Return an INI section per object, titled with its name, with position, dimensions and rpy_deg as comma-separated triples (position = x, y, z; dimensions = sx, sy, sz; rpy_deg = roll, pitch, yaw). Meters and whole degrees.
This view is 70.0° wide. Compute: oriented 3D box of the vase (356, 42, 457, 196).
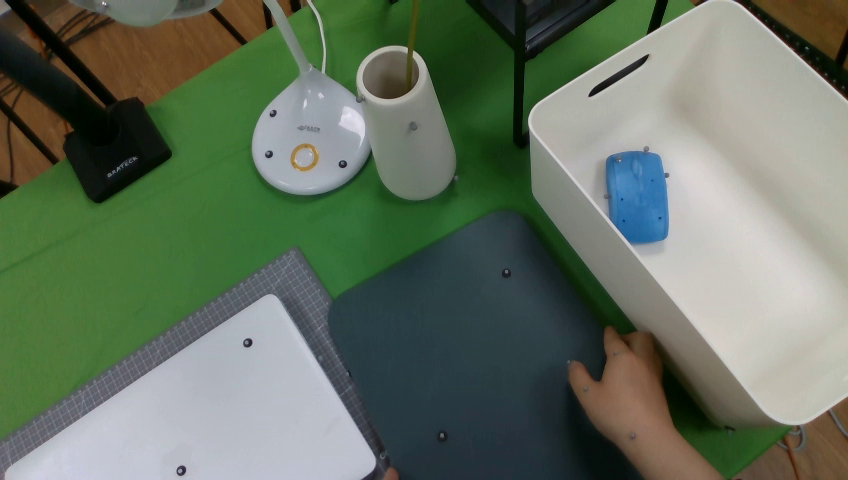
[vase]
position = -0.020, -0.127, 0.671
dimensions = 0.098, 0.201, 0.097
rpy_deg = -3, 68, 8

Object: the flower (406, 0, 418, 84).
[flower]
position = -0.014, -0.168, 0.598
dimensions = 0.038, 0.364, 0.043
rpy_deg = -20, 58, -19

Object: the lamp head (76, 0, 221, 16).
[lamp head]
position = -0.198, -0.231, 0.421
dimensions = 0.112, 0.112, 0.122
rpy_deg = -6, 86, 5

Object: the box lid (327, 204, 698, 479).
[box lid]
position = 0.075, 0.151, 0.642
dimensions = 0.263, 0.015, 0.368
rpy_deg = -29, 66, -4

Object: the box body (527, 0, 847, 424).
[box body]
position = 0.301, -0.027, 0.612
dimensions = 0.254, 0.161, 0.361
rpy_deg = -32, 69, -5

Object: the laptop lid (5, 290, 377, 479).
[laptop lid]
position = -0.254, 0.239, 0.645
dimensions = 0.357, 0.013, 0.240
rpy_deg = -33, 71, -6

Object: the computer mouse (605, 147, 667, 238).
[computer mouse]
position = 0.242, -0.057, 0.692
dimensions = 0.062, 0.041, 0.116
rpy_deg = 0, 65, 11

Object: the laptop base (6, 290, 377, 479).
[laptop base]
position = -0.254, 0.241, 0.656
dimensions = 0.354, 0.023, 0.234
rpy_deg = -34, 73, -7

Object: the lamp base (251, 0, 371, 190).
[lamp base]
position = -0.155, -0.177, 0.718
dimensions = 0.160, 0.182, 0.178
rpy_deg = -3, 66, 6
